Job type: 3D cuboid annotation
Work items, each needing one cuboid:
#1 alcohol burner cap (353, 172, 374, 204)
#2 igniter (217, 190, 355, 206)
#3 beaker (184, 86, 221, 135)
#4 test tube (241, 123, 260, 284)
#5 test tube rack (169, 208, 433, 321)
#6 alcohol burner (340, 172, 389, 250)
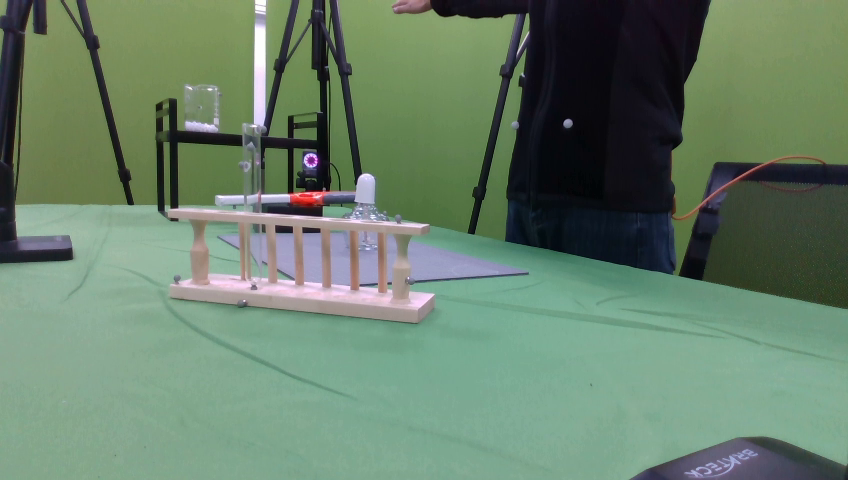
[{"bbox_3d":[-0.092,-0.081,0.936,0.034,0.048,0.034,6,10,-1],"label":"alcohol burner cap"},{"bbox_3d":[-0.248,-0.079,1.152,0.278,0.025,0.057,-4,11,-27],"label":"igniter"},{"bbox_3d":[-0.475,-0.277,1.296,0.074,0.100,0.084,2,8,-1],"label":"beaker"},{"bbox_3d":[-0.160,-0.032,0.558,0.017,0.150,0.017,3,13,0],"label":"test tube"},{"bbox_3d":[-0.115,0.018,0.574,0.242,0.085,0.067,4,8,13],"label":"test tube rack"},{"bbox_3d":[-0.093,-0.045,0.939,0.078,0.119,0.078,0,7,0],"label":"alcohol burner"}]
